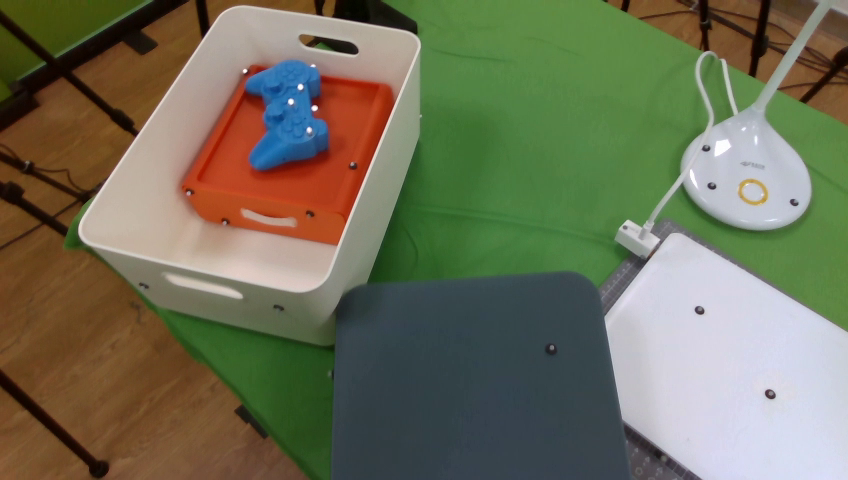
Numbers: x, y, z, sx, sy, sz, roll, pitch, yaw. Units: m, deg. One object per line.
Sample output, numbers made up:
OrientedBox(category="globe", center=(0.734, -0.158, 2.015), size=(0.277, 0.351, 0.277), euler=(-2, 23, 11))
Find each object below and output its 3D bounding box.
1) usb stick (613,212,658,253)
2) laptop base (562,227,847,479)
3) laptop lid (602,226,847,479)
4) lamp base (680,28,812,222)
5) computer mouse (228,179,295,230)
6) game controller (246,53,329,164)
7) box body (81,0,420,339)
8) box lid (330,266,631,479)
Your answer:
OrientedBox(category="usb stick", center=(0.255, -0.004, 0.714), size=(0.059, 0.027, 0.021), euler=(41, 63, 20))
OrientedBox(category="laptop base", center=(0.351, 0.157, 0.629), size=(0.352, 0.023, 0.235), euler=(36, 70, 21))
OrientedBox(category="laptop lid", center=(0.349, 0.152, 0.618), size=(0.354, 0.013, 0.241), euler=(37, 69, 22))
OrientedBox(category="lamp base", center=(0.406, -0.141, 0.714), size=(0.160, 0.182, 0.177), euler=(2, 56, 3))
OrientedBox(category="computer mouse", center=(-0.199, -0.051, 0.746), size=(0.063, 0.041, 0.116), euler=(-13, 19, 4))
OrientedBox(category="game controller", center=(-0.169, -0.168, 0.738), size=(0.097, 0.052, 0.153), euler=(-8, 59, -7))
OrientedBox(category="box body", center=(-0.165, -0.088, 0.708), size=(0.253, 0.162, 0.361), euler=(12, 60, 9))
OrientedBox(category="box lid", center=(0.047, 0.196, 0.535), size=(0.263, 0.015, 0.368), euler=(-3, 65, 1))
